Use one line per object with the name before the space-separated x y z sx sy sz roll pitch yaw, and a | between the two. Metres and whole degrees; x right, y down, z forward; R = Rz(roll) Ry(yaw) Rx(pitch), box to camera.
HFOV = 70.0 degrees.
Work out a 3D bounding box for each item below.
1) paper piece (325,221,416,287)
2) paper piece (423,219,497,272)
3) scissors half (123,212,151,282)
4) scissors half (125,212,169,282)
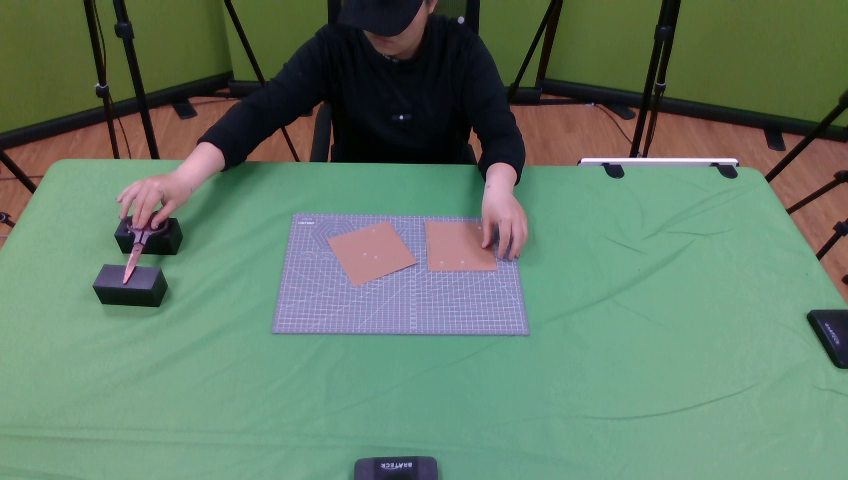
paper piece | -0.105 0.022 1.174 0.135 0.004 0.135 -19 50 -21
paper piece | 0.070 0.010 1.199 0.138 0.009 0.135 1 50 -5
scissors half | -0.519 0.010 1.085 0.040 0.013 0.174 -3 44 -12
scissors half | -0.499 0.010 1.087 0.040 0.013 0.174 4 44 4
